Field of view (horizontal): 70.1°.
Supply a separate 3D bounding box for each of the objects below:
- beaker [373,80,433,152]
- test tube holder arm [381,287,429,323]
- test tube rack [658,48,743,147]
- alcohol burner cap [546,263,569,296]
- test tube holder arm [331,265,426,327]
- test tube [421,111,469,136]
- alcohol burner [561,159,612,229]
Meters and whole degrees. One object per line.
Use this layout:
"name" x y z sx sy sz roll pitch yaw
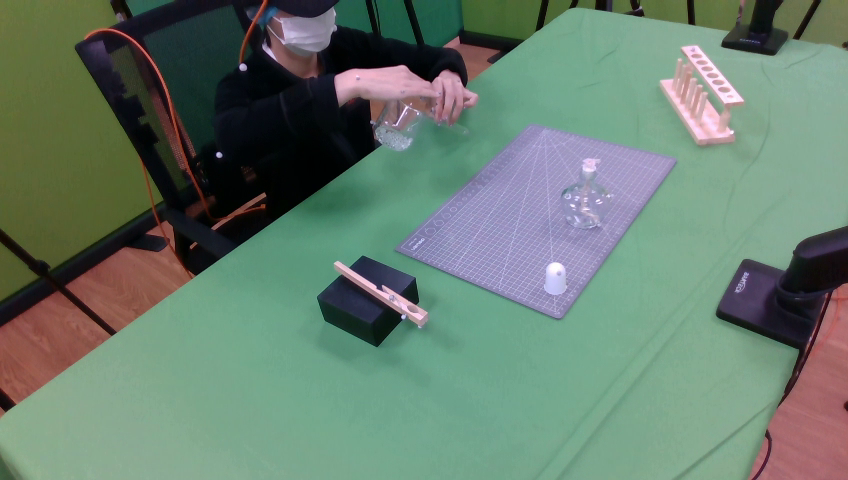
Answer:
"beaker" -0.036 -0.203 1.013 0.073 0.084 0.100 3 56 38
"test tube holder arm" -0.028 0.087 0.807 0.087 0.015 0.010 25 42 33
"test tube rack" 0.532 -0.284 1.181 0.067 0.085 0.241 -5 40 4
"alcohol burner cap" 0.191 0.053 0.862 0.034 0.048 0.033 -5 40 4
"test tube holder arm" -0.066 0.074 0.828 0.177 0.015 0.013 25 42 33
"test tube" 0.042 -0.213 1.120 0.017 0.017 0.151 24 10 33
"alcohol burner" 0.257 -0.077 0.951 0.078 0.119 0.077 -3 40 3
